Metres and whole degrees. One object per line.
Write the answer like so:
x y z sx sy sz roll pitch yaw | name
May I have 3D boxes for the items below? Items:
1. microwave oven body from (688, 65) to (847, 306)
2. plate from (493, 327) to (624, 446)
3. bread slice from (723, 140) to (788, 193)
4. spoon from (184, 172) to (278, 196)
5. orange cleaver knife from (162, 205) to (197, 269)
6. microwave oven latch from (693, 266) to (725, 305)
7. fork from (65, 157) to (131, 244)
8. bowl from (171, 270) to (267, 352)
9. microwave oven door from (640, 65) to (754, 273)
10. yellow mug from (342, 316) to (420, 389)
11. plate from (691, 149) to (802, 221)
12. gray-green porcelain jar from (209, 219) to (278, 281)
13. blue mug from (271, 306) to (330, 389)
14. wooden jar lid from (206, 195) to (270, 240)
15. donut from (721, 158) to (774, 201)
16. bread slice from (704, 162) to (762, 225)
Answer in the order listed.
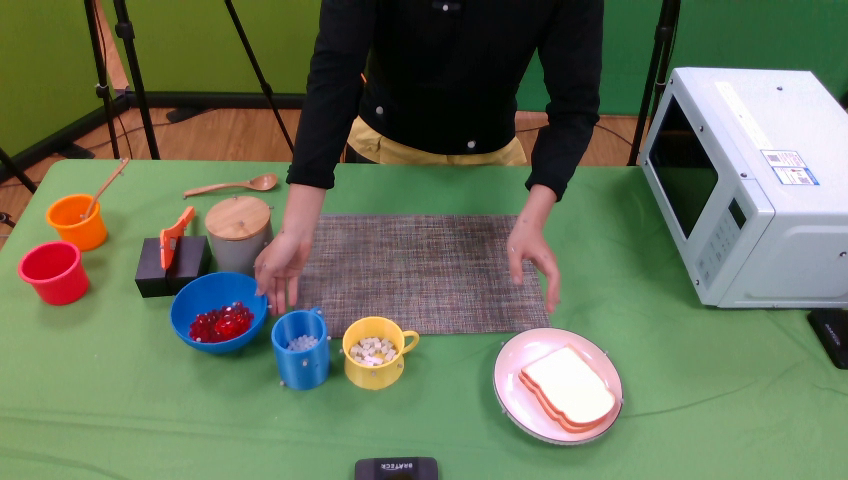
0.669 -0.111 1.176 0.326 0.261 0.439 0 46 -3 | microwave oven body
0.213 0.236 0.974 0.208 0.039 0.206 2 47 -2 | plate
0.661 -0.147 1.201 0.107 0.018 0.133 0 53 9 | bread slice
-0.406 -0.116 1.275 0.194 0.022 0.041 -8 65 -12 | spoon
-0.454 -0.010 1.129 0.012 0.077 0.210 -1 20 -5 | orange cleaver knife
0.523 0.081 1.115 0.030 0.029 0.078 3 46 0 | microwave oven latch
-0.609 -0.074 1.133 0.207 0.019 0.028 -52 51 10 | fork
-0.333 0.132 1.006 0.151 0.077 0.150 3 46 -3 | bowl
0.523 -0.147 1.193 0.039 0.245 0.353 0 47 -3 | microwave oven door
-0.068 0.177 0.990 0.131 0.064 0.099 -15 50 -20 | yellow mug
0.652 -0.108 1.238 0.209 0.038 0.208 -1 46 1 | plate
-0.323 0.007 1.092 0.106 0.127 0.105 1 46 -1 | gray-green porcelain jar
-0.188 0.163 0.969 0.082 0.106 0.116 15 47 10 | blue mug
-0.319 -0.036 1.046 0.108 0.021 0.107 1 44 -1 | wooden jar lid
0.648 -0.122 1.215 0.099 0.048 0.098 -3 55 5 | donut
0.649 -0.103 1.264 0.105 0.019 0.131 13 71 11 | bread slice
